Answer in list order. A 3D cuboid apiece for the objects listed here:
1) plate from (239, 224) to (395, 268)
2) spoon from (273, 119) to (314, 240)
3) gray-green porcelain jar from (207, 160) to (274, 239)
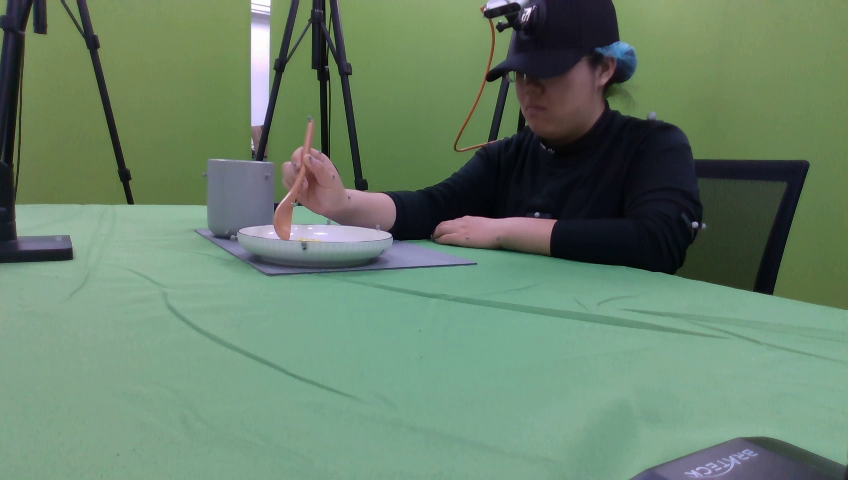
[{"bbox_3d":[-0.144,0.007,0.823,0.208,0.039,0.207,3,7,0],"label":"plate"},{"bbox_3d":[-0.179,-0.088,0.853,0.021,0.193,0.042,5,-22,23],"label":"spoon"},{"bbox_3d":[-0.304,-0.068,1.003,0.106,0.126,0.106,3,7,0],"label":"gray-green porcelain jar"}]
